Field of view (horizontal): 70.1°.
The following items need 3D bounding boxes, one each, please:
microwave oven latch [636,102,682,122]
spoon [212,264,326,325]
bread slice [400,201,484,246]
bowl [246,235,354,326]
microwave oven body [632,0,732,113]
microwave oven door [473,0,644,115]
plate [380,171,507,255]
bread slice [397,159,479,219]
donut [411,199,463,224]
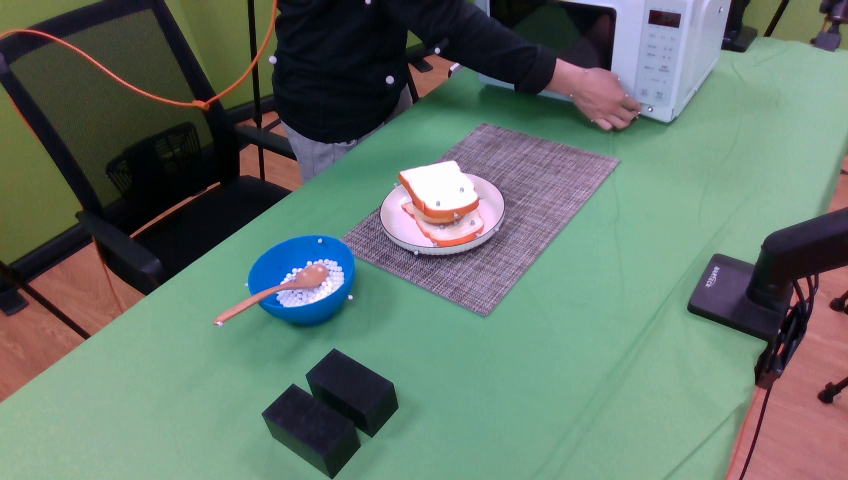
[{"bbox_3d":[0.449,-0.252,1.159,0.030,0.029,0.078,-36,48,-28],"label":"microwave oven latch"},{"bbox_3d":[-0.207,0.072,0.822,0.041,0.021,0.195,27,29,27],"label":"spoon"},{"bbox_3d":[0.037,-0.038,0.991,0.107,0.018,0.133,-23,43,-17],"label":"bread slice"},{"bbox_3d":[-0.169,0.070,0.868,0.151,0.077,0.150,-4,41,4],"label":"bowl"},{"bbox_3d":[0.377,-0.463,1.267,0.438,0.261,0.327,21,49,30],"label":"microwave oven body"},{"bbox_3d":[0.258,-0.396,1.199,0.353,0.245,0.039,21,48,29],"label":"microwave oven door"},{"bbox_3d":[0.033,-0.042,0.996,0.207,0.039,0.206,-4,40,4],"label":"plate"},{"bbox_3d":[0.029,-0.082,0.952,0.105,0.019,0.130,-14,44,-18],"label":"bread slice"},{"bbox_3d":[0.029,-0.063,0.978,0.099,0.048,0.098,-4,39,4],"label":"donut"}]
